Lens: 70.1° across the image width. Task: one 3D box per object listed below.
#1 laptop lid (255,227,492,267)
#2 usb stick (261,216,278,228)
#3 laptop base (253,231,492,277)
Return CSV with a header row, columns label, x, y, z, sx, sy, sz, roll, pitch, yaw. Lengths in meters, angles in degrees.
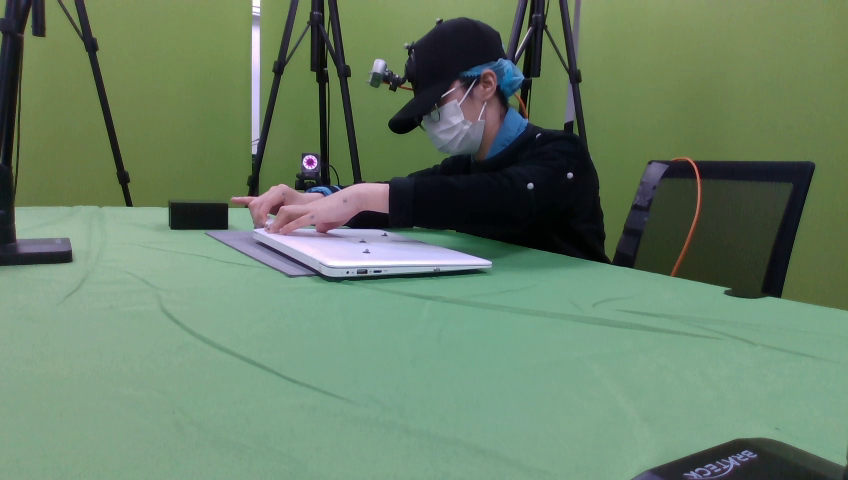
label,x,y,z,sx,sy,sz,roll,pitch,yaw
laptop lid,-0.091,0.005,0.888,0.243,0.013,0.355,0,7,-28
usb stick,-0.259,-0.022,1.015,0.021,0.027,0.059,5,12,-22
laptop base,-0.094,0.016,0.888,0.237,0.023,0.352,1,7,-30
